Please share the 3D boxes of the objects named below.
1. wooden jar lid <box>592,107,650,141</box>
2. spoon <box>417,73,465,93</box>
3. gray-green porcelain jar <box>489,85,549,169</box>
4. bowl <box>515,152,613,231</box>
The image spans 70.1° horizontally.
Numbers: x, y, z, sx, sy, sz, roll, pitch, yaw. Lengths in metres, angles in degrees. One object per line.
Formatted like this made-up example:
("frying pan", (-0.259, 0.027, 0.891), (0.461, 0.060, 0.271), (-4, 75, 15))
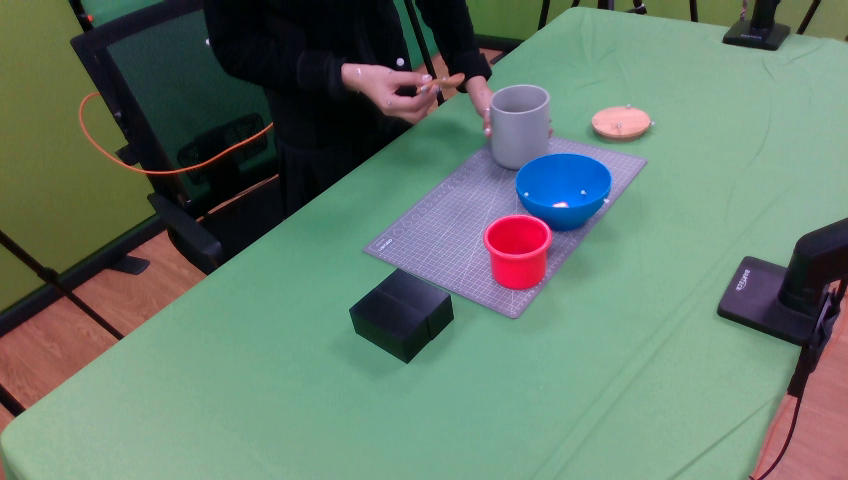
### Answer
("wooden jar lid", (0.382, -0.225, 1.178), (0.108, 0.021, 0.108), (-5, 40, 4))
("spoon", (0.025, -0.254, 0.977), (0.041, 0.021, 0.194), (-11, 12, 26))
("gray-green porcelain jar", (0.174, -0.202, 1.102), (0.106, 0.127, 0.105), (-5, 41, 5))
("bowl", (0.224, -0.068, 0.972), (0.151, 0.077, 0.150), (-5, 40, 5))
